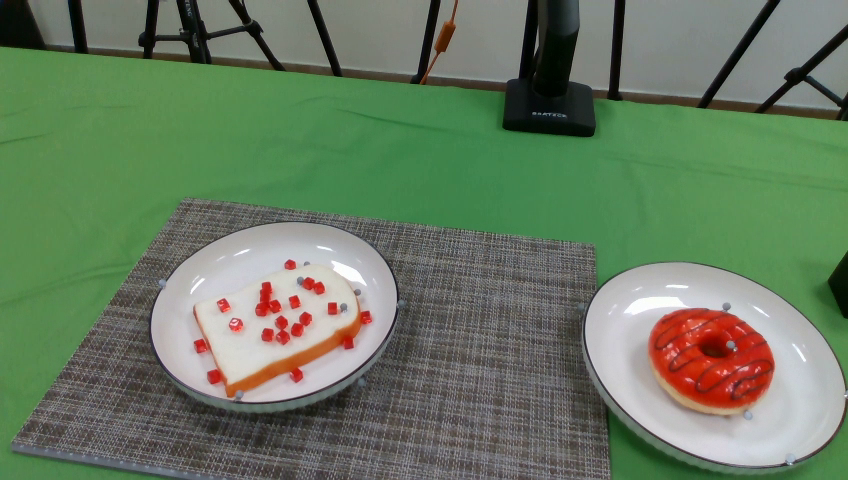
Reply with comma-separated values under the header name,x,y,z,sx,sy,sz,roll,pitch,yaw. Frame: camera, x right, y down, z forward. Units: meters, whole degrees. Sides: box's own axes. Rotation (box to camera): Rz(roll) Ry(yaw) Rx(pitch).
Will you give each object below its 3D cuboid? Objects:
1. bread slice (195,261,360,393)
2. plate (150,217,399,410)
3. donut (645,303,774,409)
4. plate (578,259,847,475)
name,x,y,z,sx,sy,sz,roll,pitch,yaw
bread slice,-0.125,0.065,0.531,0.132,0.019,0.103,-23,49,-23
plate,-0.127,0.061,0.532,0.209,0.038,0.207,1,44,-1
donut,0.233,0.094,0.499,0.099,0.049,0.098,-1,44,1
plate,0.232,0.102,0.508,0.208,0.039,0.205,1,43,-1
